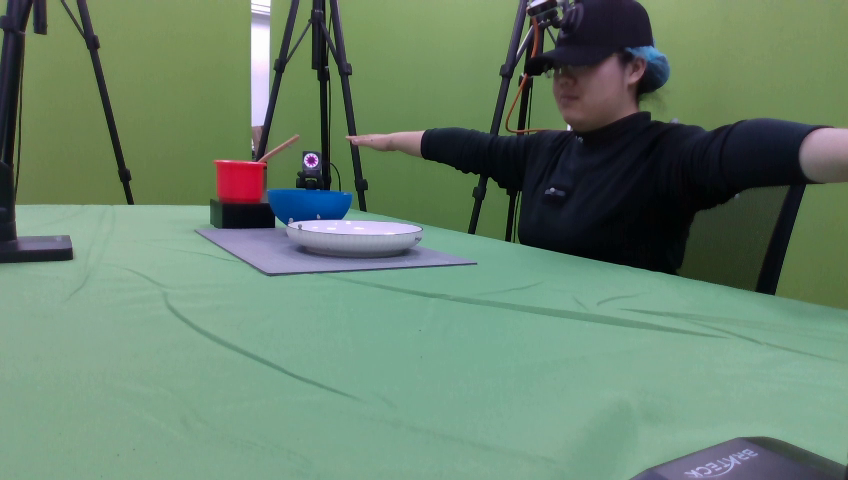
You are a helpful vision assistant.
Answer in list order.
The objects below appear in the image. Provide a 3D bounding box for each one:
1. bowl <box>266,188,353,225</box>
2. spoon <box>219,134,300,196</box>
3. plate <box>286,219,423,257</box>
[{"bbox_3d":[-0.204,-0.049,1.080,0.151,0.077,0.151,3,7,0],"label":"bowl"},{"bbox_3d":[-0.317,-0.146,1.171,0.194,0.022,0.041,-45,21,-14],"label":"spoon"},{"bbox_3d":[-0.105,-0.004,0.923,0.208,0.039,0.207,3,8,0],"label":"plate"}]
